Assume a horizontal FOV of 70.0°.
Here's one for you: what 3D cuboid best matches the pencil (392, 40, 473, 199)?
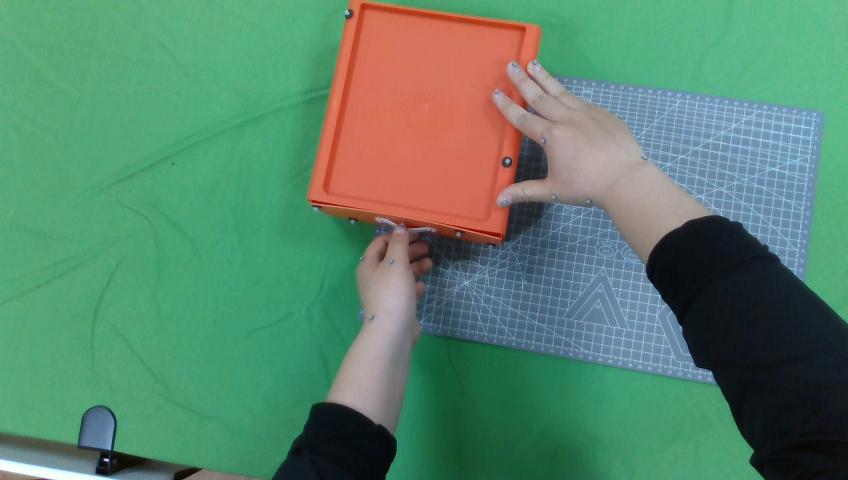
[{"bbox_3d":[0.010,-0.130,0.653,0.012,0.012,0.193,-26,85,2],"label":"pencil"}]

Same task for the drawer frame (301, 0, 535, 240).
[{"bbox_3d":[-0.003,-0.121,0.628,0.201,0.083,0.213,9,85,7],"label":"drawer frame"}]

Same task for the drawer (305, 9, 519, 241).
[{"bbox_3d":[-0.003,-0.116,0.628,0.194,0.073,0.211,10,84,7],"label":"drawer"}]
